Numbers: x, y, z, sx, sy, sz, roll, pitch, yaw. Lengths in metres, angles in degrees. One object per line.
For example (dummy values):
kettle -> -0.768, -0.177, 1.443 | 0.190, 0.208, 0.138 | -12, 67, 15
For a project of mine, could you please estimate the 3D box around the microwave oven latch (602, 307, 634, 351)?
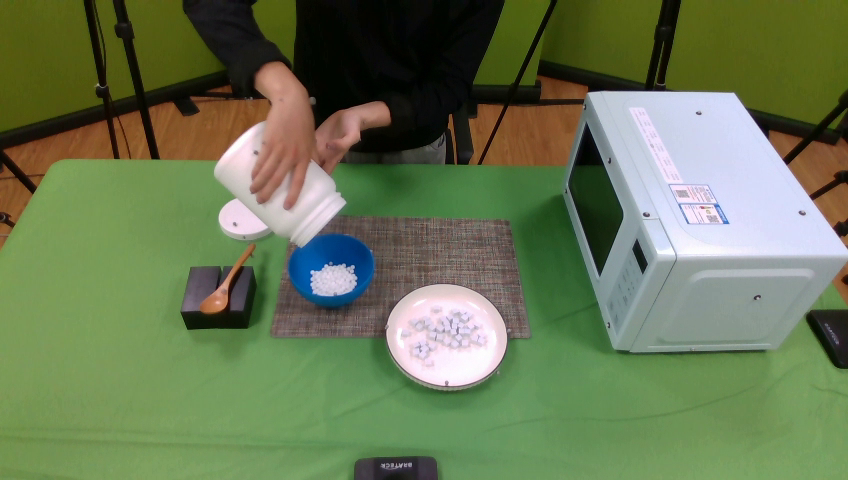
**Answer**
microwave oven latch -> 0.332, 0.153, 1.044 | 0.030, 0.029, 0.078 | 0, 45, -4

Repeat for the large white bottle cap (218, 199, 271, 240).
large white bottle cap -> -0.355, -0.045, 1.220 | 0.115, 0.018, 0.114 | 2, 45, -2

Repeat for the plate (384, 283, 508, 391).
plate -> 0.036, 0.165, 1.029 | 0.209, 0.038, 0.208 | 2, 49, -2

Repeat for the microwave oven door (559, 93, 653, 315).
microwave oven door -> 0.327, -0.074, 1.123 | 0.039, 0.245, 0.353 | -1, 46, -5

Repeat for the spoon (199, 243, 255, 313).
spoon -> -0.333, 0.062, 1.052 | 0.041, 0.022, 0.193 | 8, 40, 8

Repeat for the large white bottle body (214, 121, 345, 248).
large white bottle body -> -0.231, -0.087, 0.992 | 0.185, 0.131, 0.130 | 44, 51, -5

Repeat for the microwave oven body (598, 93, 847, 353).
microwave oven body -> 0.475, -0.041, 1.109 | 0.326, 0.261, 0.438 | -1, 45, -4

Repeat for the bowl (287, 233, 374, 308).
bowl -> -0.164, 0.068, 1.078 | 0.151, 0.077, 0.150 | 3, 46, -2
